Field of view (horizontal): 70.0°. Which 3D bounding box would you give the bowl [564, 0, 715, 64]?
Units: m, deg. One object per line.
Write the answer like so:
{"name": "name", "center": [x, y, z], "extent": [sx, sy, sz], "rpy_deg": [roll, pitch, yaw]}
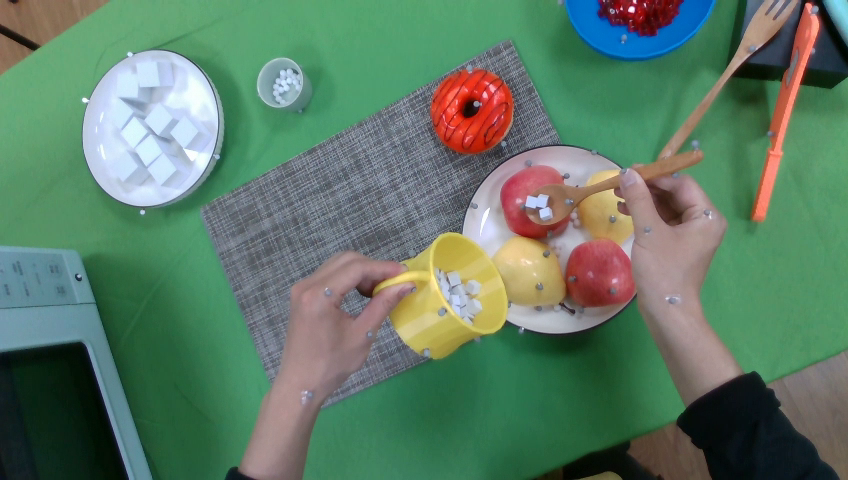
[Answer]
{"name": "bowl", "center": [0.225, -0.254, 0.645], "extent": [0.151, 0.077, 0.151], "rpy_deg": [0, 88, 14]}

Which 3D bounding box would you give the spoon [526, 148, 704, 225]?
{"name": "spoon", "center": [0.164, -0.048, 0.550], "extent": [0.193, 0.022, 0.041], "rpy_deg": [-18, 81, 58]}

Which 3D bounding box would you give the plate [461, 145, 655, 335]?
{"name": "plate", "center": [0.146, 0.000, 0.672], "extent": [0.208, 0.038, 0.209], "rpy_deg": [-1, 88, 14]}

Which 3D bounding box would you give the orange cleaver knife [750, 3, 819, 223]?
{"name": "orange cleaver knife", "center": [0.358, -0.123, 0.606], "extent": [0.012, 0.077, 0.212], "rpy_deg": [12, 116, 19]}

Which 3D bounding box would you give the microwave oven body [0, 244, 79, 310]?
{"name": "microwave oven body", "center": [-0.561, 0.263, 0.719], "extent": [0.326, 0.261, 0.440], "rpy_deg": [-23, 83, 11]}

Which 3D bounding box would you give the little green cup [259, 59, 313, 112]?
{"name": "little green cup", "center": [-0.170, -0.190, 0.759], "extent": [0.061, 0.039, 0.061], "rpy_deg": [-1, 87, 14]}

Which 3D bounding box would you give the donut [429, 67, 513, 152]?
{"name": "donut", "center": [0.054, -0.149, 0.696], "extent": [0.099, 0.048, 0.099], "rpy_deg": [0, 89, 16]}

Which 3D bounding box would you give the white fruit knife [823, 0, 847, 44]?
{"name": "white fruit knife", "center": [0.386, -0.258, 0.587], "extent": [0.027, 0.016, 0.206], "rpy_deg": [-20, 80, -17]}

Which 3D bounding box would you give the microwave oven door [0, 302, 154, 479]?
{"name": "microwave oven door", "center": [-0.416, 0.246, 0.679], "extent": [0.039, 0.245, 0.354], "rpy_deg": [-23, 82, 12]}

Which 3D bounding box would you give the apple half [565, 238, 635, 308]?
{"name": "apple half", "center": [0.180, 0.037, 0.644], "extent": [0.081, 0.033, 0.081], "rpy_deg": [3, 97, 33]}

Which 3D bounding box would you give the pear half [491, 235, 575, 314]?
{"name": "pear half", "center": [0.123, 0.045, 0.661], "extent": [0.109, 0.056, 0.076], "rpy_deg": [38, 101, 7]}

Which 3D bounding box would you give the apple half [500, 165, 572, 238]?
{"name": "apple half", "center": [0.121, -0.042, 0.662], "extent": [0.074, 0.053, 0.080], "rpy_deg": [-8, 89, 14]}

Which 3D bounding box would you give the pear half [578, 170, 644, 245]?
{"name": "pear half", "center": [0.195, -0.031, 0.647], "extent": [0.070, 0.031, 0.088], "rpy_deg": [7, 100, 37]}

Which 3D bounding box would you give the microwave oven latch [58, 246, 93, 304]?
{"name": "microwave oven latch", "center": [-0.470, 0.048, 0.804], "extent": [0.030, 0.029, 0.079], "rpy_deg": [-21, 84, 11]}

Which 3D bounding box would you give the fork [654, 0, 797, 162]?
{"name": "fork", "center": [0.302, -0.160, 0.618], "extent": [0.028, 0.018, 0.208], "rpy_deg": [33, 116, 5]}

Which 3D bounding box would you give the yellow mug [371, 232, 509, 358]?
{"name": "yellow mug", "center": [0.010, 0.048, 0.544], "extent": [0.064, 0.132, 0.099], "rpy_deg": [-35, 58, 36]}

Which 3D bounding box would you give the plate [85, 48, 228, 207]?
{"name": "plate", "center": [-0.348, -0.145, 0.801], "extent": [0.207, 0.039, 0.207], "rpy_deg": [-1, 88, 14]}
